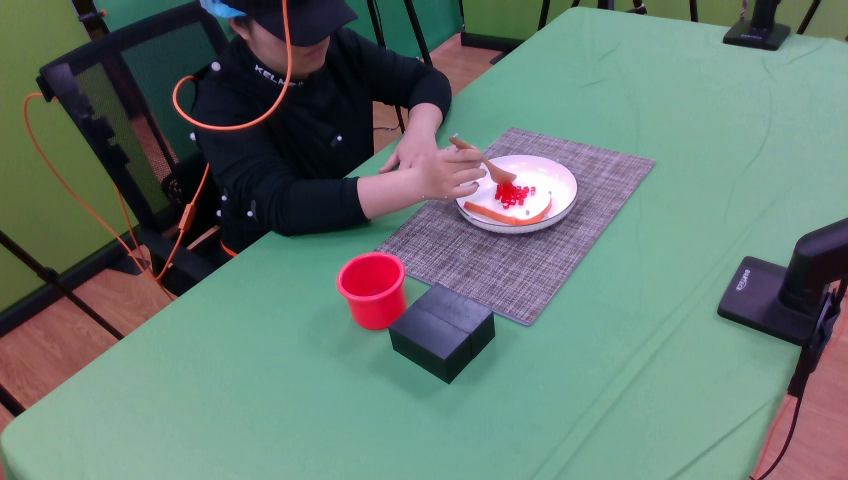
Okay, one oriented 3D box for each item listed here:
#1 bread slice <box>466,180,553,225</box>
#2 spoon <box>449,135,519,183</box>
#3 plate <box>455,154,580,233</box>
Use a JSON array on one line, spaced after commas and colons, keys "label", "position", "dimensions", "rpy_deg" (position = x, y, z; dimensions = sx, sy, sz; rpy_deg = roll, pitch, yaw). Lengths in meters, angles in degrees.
[{"label": "bread slice", "position": [0.152, -0.067, 1.022], "dimensions": [0.130, 0.019, 0.105], "rpy_deg": [22, 50, 34]}, {"label": "spoon", "position": [0.096, -0.128, 0.974], "dimensions": [0.041, 0.195, 0.021], "rpy_deg": [-15, 63, 34]}, {"label": "plate", "position": [0.159, -0.076, 1.028], "dimensions": [0.209, 0.038, 0.208], "rpy_deg": [-5, 40, 5]}]
